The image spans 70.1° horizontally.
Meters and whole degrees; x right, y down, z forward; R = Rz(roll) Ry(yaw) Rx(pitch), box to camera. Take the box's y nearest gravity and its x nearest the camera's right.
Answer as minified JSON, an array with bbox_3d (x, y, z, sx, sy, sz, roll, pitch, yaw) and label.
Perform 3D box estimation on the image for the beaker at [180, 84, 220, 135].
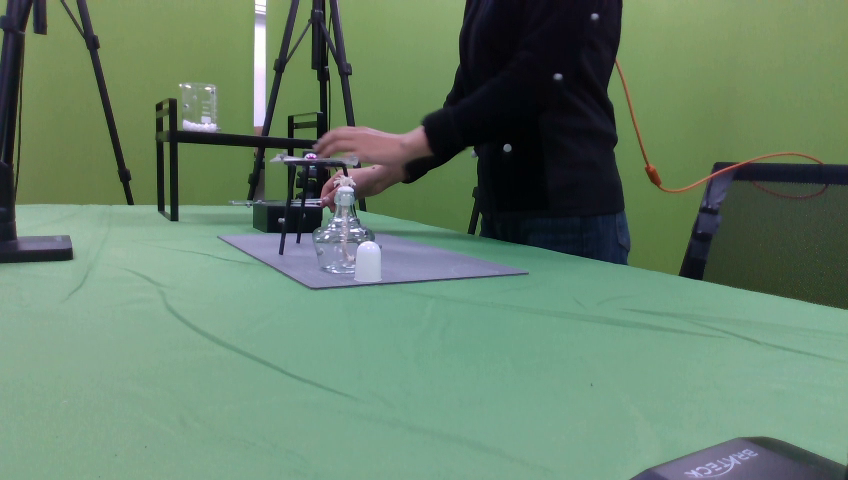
[{"bbox_3d":[-0.475,-0.275,1.281,0.073,0.100,0.084,7,9,36],"label":"beaker"}]

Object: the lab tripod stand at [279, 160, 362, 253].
[{"bbox_3d":[-0.166,-0.052,0.897,0.148,0.131,0.148,0,7,0],"label":"lab tripod stand"}]

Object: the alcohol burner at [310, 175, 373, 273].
[{"bbox_3d":[-0.100,-0.020,0.740,0.078,0.119,0.078,1,6,0],"label":"alcohol burner"}]

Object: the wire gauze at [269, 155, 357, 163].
[{"bbox_3d":[-0.159,-0.118,0.886,0.122,0.011,0.125,1,7,-9],"label":"wire gauze"}]

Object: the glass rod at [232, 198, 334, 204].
[{"bbox_3d":[-0.266,-0.075,1.158,0.201,0.008,0.008,-4,10,-31],"label":"glass rod"}]

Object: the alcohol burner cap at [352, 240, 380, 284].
[{"bbox_3d":[-0.066,0.023,0.690,0.034,0.048,0.034,3,11,0],"label":"alcohol burner cap"}]
